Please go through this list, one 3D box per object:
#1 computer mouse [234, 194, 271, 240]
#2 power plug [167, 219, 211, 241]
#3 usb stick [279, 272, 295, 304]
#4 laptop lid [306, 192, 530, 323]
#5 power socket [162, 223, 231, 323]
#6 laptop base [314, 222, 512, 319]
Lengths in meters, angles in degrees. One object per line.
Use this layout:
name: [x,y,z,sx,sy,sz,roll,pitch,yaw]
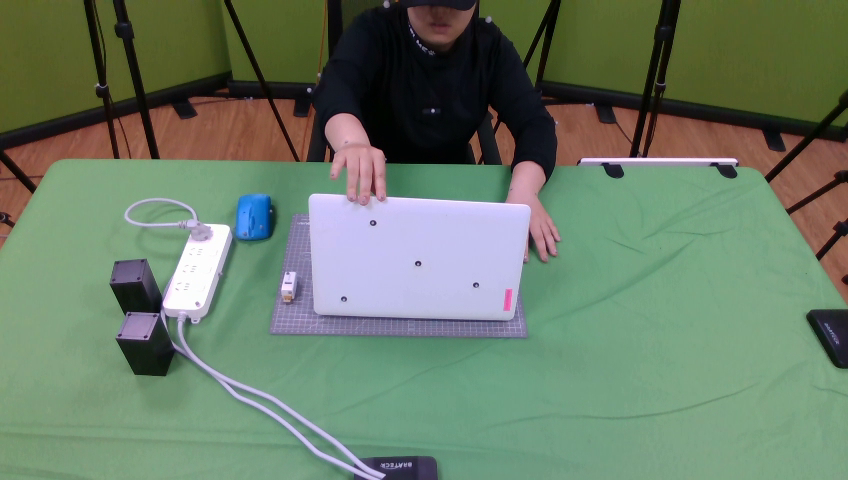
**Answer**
computer mouse: [-0.341,-0.049,1.208,0.063,0.041,0.116,0,50,-7]
power plug: [-0.438,-0.017,1.144,0.072,0.053,0.035,10,44,6]
usb stick: [-0.246,0.088,1.086,0.021,0.027,0.059,4,47,-5]
laptop lid: [-0.012,0.036,0.998,0.357,0.242,0.013,4,29,-2]
power socket: [-0.412,0.051,1.107,0.072,0.033,0.225,4,46,-2]
laptop base: [-0.018,0.055,1.145,0.354,0.023,0.234,2,43,-2]
